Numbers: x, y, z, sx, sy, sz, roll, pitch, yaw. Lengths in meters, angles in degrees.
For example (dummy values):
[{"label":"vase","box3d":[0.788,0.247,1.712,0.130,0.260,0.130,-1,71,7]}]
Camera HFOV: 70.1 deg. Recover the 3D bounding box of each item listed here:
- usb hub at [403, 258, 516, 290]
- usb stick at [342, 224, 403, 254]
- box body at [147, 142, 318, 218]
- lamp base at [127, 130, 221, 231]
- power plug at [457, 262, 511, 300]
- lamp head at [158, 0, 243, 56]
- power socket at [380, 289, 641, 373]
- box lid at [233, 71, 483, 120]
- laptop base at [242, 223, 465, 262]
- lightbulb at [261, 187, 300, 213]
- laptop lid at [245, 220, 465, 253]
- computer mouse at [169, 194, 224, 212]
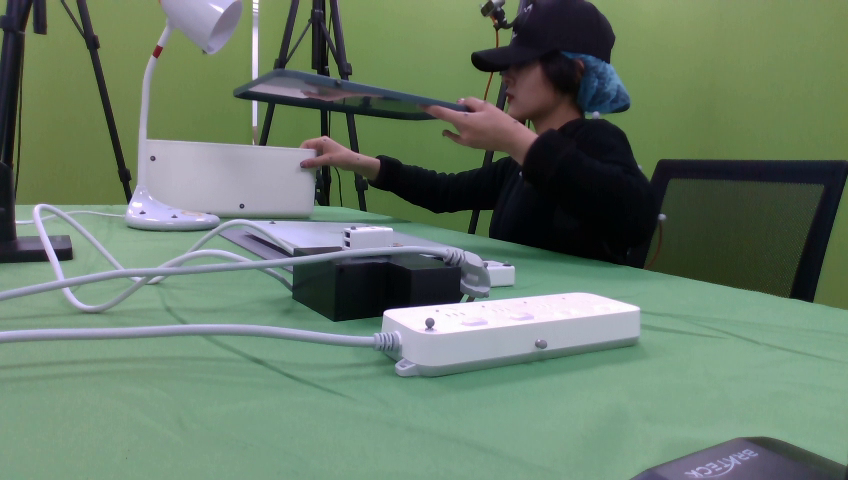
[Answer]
[{"label":"usb hub","box3d":[0.042,0.038,0.690,0.126,0.025,0.049,-2,9,-30]},{"label":"usb stick","box3d":[-0.047,-0.001,0.567,0.059,0.027,0.021,0,5,-32]},{"label":"box body","box3d":[-0.450,-0.139,1.406,0.366,0.160,0.253,-1,8,-24]},{"label":"lamp base","box3d":[-0.469,-0.112,1.108,0.179,0.180,0.160,0,7,3]},{"label":"power plug","box3d":[0.051,0.051,0.543,0.035,0.052,0.072,6,37,-19]},{"label":"lamp head","box3d":[-0.399,-0.397,1.057,0.123,0.112,0.112,27,5,-7]},{"label":"power socket","box3d":[0.072,0.064,0.461,0.228,0.032,0.072,-2,8,-30]},{"label":"box lid","box3d":[-0.113,-0.236,1.029,0.373,0.015,0.262,0,5,-33]},{"label":"laptop base","box3d":[-0.126,0.003,0.946,0.237,0.023,0.352,2,6,-31]},{"label":"lightbulb","box3d":[-0.346,-0.091,1.469,0.059,0.059,0.108,9,-10,41]},{"label":"laptop lid","box3d":[-0.124,-0.009,0.945,0.243,0.013,0.355,1,7,-29]},{"label":"computer mouse","box3d":[-0.519,-0.084,1.384,0.118,0.041,0.062,4,4,-25]}]
